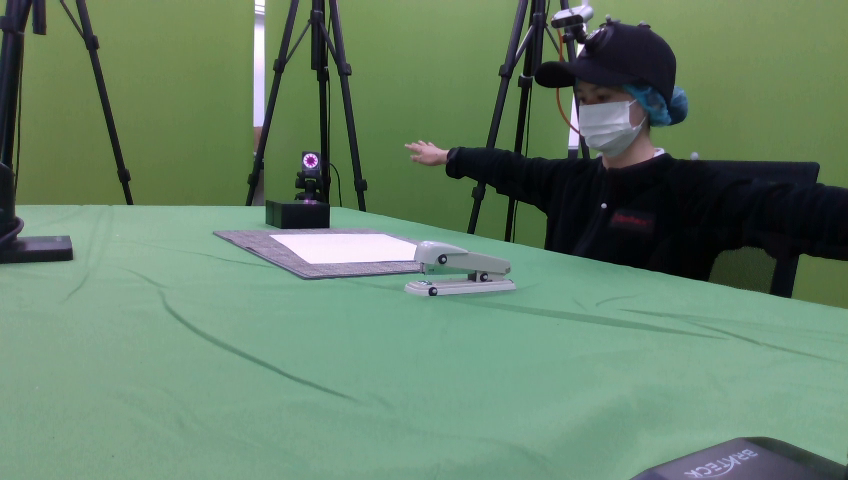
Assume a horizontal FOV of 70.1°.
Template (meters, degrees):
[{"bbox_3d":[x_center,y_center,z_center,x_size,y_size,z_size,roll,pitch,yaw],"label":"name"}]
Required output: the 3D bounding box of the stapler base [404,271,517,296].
[{"bbox_3d":[0.041,0.045,0.669,0.131,0.024,0.041,1,9,-29],"label":"stapler base"}]

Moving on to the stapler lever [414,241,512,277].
[{"bbox_3d":[0.044,0.021,0.667,0.119,0.040,0.026,0,9,-29],"label":"stapler lever"}]
